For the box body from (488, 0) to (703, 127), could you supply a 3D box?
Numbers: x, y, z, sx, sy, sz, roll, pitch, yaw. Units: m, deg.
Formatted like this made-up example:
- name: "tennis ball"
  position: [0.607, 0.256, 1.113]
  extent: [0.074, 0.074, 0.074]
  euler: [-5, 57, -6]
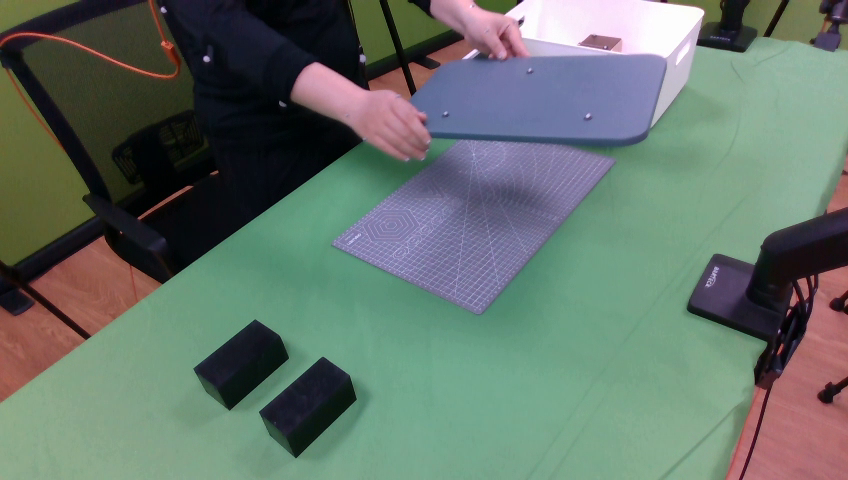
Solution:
- name: "box body"
  position: [0.346, -0.374, 1.251]
  extent: [0.361, 0.161, 0.255]
  euler: [21, 48, 29]

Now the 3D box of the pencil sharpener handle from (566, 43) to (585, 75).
- name: "pencil sharpener handle"
  position: [0.319, -0.385, 1.283]
  extent: [0.030, 0.068, 0.036]
  euler: [20, 39, 31]

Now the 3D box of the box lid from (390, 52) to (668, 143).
- name: "box lid"
  position: [0.158, -0.217, 0.896]
  extent: [0.369, 0.015, 0.263]
  euler: [6, 41, 24]

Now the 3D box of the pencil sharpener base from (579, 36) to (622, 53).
- name: "pencil sharpener base"
  position: [0.364, -0.363, 1.267]
  extent: [0.076, 0.107, 0.061]
  euler: [20, 49, 30]
